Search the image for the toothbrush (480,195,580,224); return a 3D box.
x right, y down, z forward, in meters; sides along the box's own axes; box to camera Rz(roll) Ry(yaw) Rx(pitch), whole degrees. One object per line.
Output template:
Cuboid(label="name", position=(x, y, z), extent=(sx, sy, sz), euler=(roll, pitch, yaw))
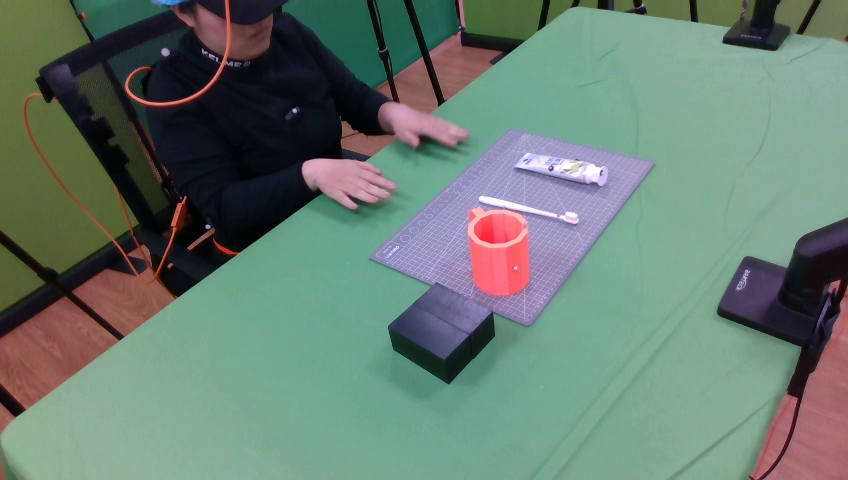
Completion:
Cuboid(label="toothbrush", position=(0.175, -0.054, 1.016), extent=(0.180, 0.017, 0.014), euler=(15, 59, 28))

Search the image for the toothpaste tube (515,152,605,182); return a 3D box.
Cuboid(label="toothpaste tube", position=(0.248, -0.133, 1.087), extent=(0.164, 0.034, 0.055), euler=(18, 42, 34))

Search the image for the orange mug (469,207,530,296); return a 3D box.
Cuboid(label="orange mug", position=(0.104, 0.008, 0.893), extent=(0.084, 0.101, 0.125), euler=(-22, 46, -14))

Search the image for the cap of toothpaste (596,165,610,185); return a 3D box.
Cuboid(label="cap of toothpaste", position=(0.307, -0.113, 1.041), extent=(0.011, 0.037, 0.037), euler=(20, 49, 39))
